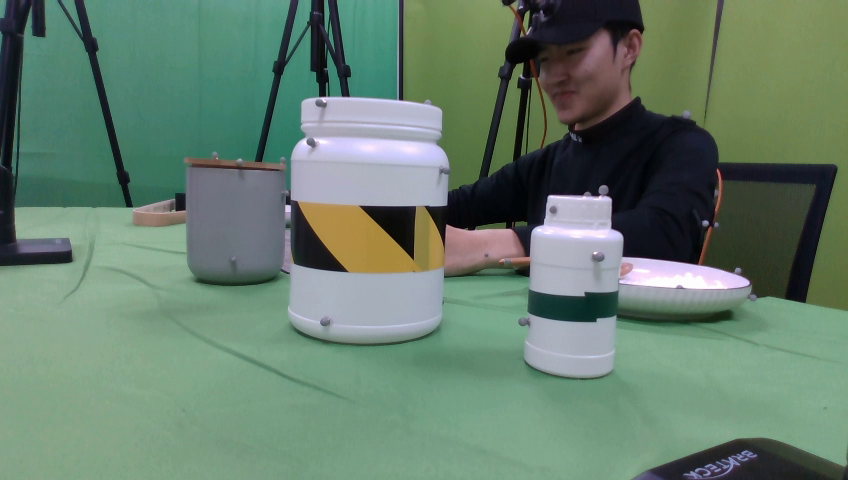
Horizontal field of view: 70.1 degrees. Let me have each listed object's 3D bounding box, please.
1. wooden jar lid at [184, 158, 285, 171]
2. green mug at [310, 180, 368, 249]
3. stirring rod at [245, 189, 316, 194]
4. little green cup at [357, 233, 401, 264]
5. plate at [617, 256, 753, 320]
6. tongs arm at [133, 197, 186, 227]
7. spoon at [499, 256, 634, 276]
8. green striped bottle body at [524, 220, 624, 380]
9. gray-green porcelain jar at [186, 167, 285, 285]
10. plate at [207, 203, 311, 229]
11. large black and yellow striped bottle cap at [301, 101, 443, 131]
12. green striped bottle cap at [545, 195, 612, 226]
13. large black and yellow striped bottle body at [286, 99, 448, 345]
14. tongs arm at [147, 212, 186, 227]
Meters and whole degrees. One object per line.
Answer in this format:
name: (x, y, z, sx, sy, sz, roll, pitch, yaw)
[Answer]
wooden jar lid: (-0.210, -0.078, 0.674, 0.108, 0.020, 0.108, 5, 6, 0)
green mug: (-0.130, -0.044, 0.981, 0.092, 0.105, 0.125, 4, 8, 14)
stirring rod: (-0.351, -0.120, 1.489, 0.177, 0.014, 0.006, -3, 6, -29)
little green cup: (-0.061, 0.011, 0.825, 0.061, 0.038, 0.061, 1, 6, 0)
plate: (0.234, 0.049, 0.651, 0.209, 0.038, 0.209, 2, 7, 0)
tongs arm: (-0.556, -0.066, 1.320, 0.051, 0.026, 0.384, 7, 7, -5)
spoon: (0.162, 0.027, 0.679, 0.195, 0.021, 0.041, 8, 2, -30)
green striped bottle body: (0.104, 0.031, 0.422, 0.063, 0.119, 0.063, 2, 7, 0)
gray-green porcelain jar: (-0.212, -0.017, 0.682, 0.106, 0.126, 0.106, 2, 7, 0)
plate: (-0.342, -0.050, 1.259, 0.208, 0.039, 0.207, 2, 7, 0)
large black and yellow striped bottle cap: (-0.042, -0.100, 0.491, 0.115, 0.019, 0.115, 1, 8, 0)
green striped bottle cap: (0.106, -0.020, 0.414, 0.044, 0.020, 0.044, 2, 4, 0)
large black and yellow striped bottle body: (-0.047, -0.018, 0.501, 0.131, 0.184, 0.130, 2, 7, 0)
tongs arm: (-0.478, -0.059, 1.321, 0.028, 0.028, 0.388, 12, 9, 7)
